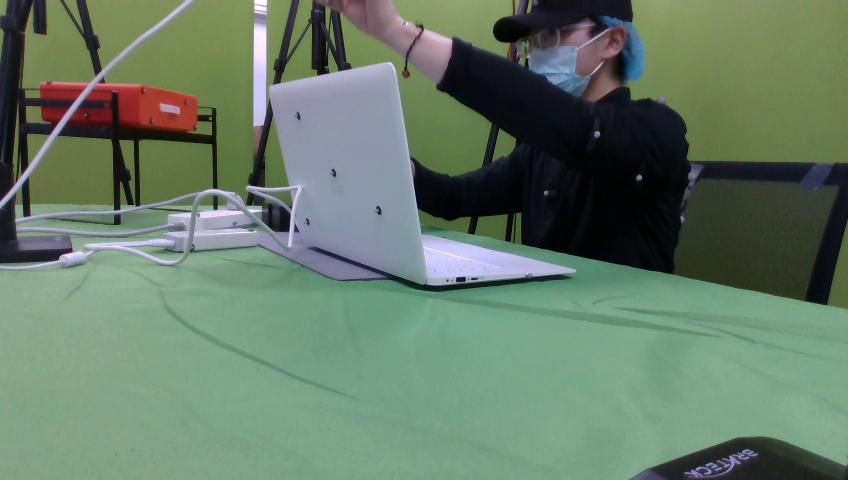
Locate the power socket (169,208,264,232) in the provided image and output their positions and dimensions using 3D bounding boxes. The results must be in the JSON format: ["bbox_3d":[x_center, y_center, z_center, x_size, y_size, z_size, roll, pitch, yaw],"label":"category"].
[{"bbox_3d":[-0.381,-0.038,1.128,0.072,0.032,0.227,4,8,17],"label":"power socket"}]

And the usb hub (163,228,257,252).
[{"bbox_3d":[-0.314,-0.001,0.894,0.049,0.025,0.126,9,10,41],"label":"usb hub"}]

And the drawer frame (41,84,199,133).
[{"bbox_3d":[-0.604,-0.264,1.225,0.213,0.082,0.202,3,8,8],"label":"drawer frame"}]

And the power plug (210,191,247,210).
[{"bbox_3d":[-0.386,-0.071,1.204,0.072,0.052,0.035,8,11,25],"label":"power plug"}]

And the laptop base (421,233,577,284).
[{"bbox_3d":[0.007,0.022,0.850,0.237,0.023,0.352,1,7,-34],"label":"laptop base"}]

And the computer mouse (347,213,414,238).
[{"bbox_3d":[-0.079,-0.025,1.080,0.117,0.041,0.062,-5,12,-18],"label":"computer mouse"}]

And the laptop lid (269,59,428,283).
[{"bbox_3d":[-0.110,-0.087,0.752,0.013,0.241,0.355,-18,19,-30],"label":"laptop lid"}]

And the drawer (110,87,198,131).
[{"bbox_3d":[-0.602,-0.263,1.225,0.211,0.073,0.195,3,8,10],"label":"drawer"}]

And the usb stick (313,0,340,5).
[{"bbox_3d":[-0.146,-0.348,0.844,0.059,0.021,0.027,22,-29,3],"label":"usb stick"}]
